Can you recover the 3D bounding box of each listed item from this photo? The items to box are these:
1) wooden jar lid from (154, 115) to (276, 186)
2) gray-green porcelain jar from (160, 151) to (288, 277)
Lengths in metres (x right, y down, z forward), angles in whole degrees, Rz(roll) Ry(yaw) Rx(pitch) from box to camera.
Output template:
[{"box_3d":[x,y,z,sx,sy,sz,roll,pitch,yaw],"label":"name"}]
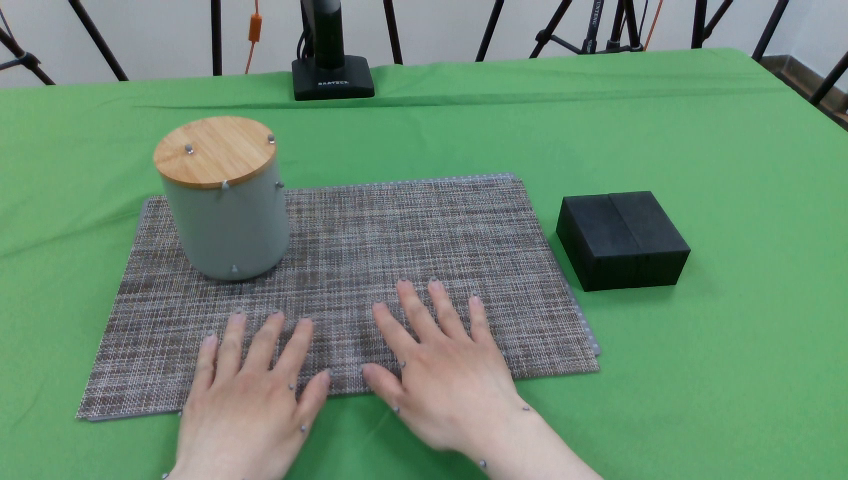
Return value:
[{"box_3d":[-0.192,-0.081,0.563,0.108,0.021,0.107,2,44,-2],"label":"wooden jar lid"},{"box_3d":[-0.193,-0.034,0.604,0.106,0.127,0.105,1,42,-1],"label":"gray-green porcelain jar"}]
